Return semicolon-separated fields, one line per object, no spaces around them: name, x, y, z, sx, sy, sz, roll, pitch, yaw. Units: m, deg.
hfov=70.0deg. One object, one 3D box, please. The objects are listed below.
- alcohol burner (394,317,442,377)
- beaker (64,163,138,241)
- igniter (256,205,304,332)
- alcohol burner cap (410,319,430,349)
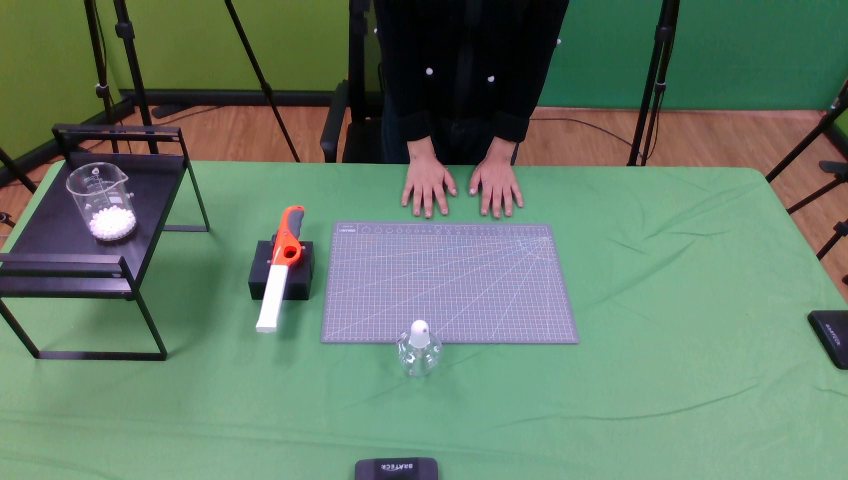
alcohol burner;-0.009;0.166;0.972;0.078;0.120;0.077;1;45;0
beaker;-0.477;-0.055;0.910;0.084;0.101;0.073;-9;48;-13
igniter;-0.252;0.040;1.070;0.057;0.025;0.275;3;50;-1
alcohol burner cap;-0.007;0.144;0.950;0.034;0.048;0.033;0;47;0
